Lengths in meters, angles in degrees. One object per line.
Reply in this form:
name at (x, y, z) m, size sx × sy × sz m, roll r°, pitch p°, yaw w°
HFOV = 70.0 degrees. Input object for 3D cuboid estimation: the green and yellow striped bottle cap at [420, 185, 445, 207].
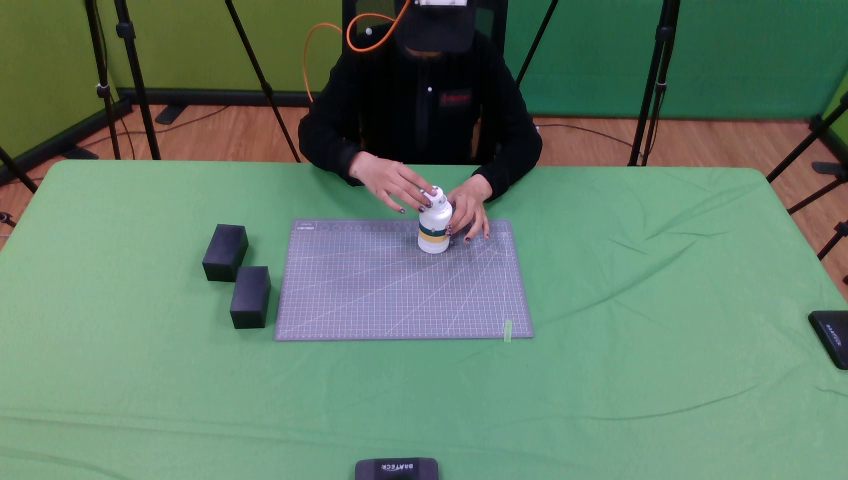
green and yellow striped bottle cap at (0.016, -0.080, 1.108) m, size 0.045 × 0.020 × 0.045 m, roll -3°, pitch 42°, yaw 3°

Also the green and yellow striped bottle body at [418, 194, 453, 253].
green and yellow striped bottle body at (0.022, -0.036, 1.160) m, size 0.063 × 0.120 × 0.063 m, roll 2°, pitch 46°, yaw -2°
